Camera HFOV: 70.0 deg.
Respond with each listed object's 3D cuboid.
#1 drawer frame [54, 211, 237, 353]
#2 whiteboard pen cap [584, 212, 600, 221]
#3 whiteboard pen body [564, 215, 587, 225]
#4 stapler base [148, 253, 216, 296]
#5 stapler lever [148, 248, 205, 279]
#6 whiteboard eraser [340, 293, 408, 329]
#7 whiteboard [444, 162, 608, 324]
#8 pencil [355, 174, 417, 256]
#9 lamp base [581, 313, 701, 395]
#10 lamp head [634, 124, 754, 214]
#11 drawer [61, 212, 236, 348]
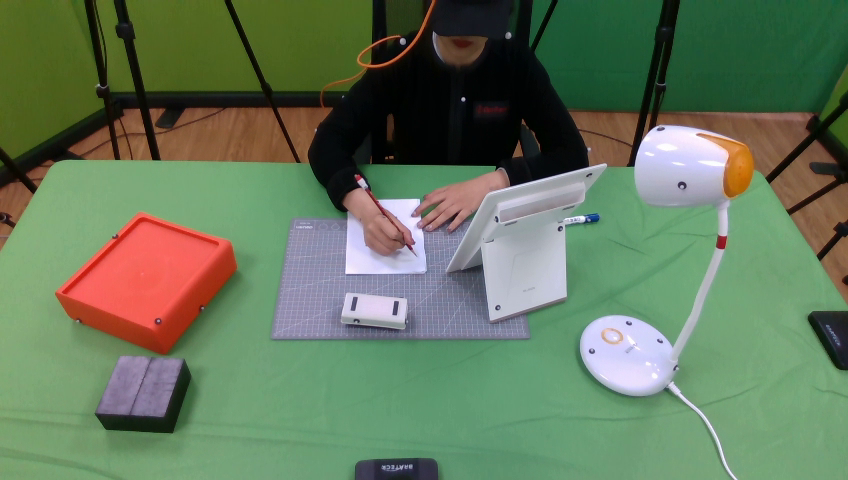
[{"bbox_3d":[-0.473,0.067,1.055,0.201,0.083,0.212,17,48,11],"label":"drawer frame"},{"bbox_3d":[0.351,-0.048,1.271,0.033,0.018,0.018,-6,47,-11],"label":"whiteboard pen cap"},{"bbox_3d":[0.291,-0.040,1.261,0.141,0.017,0.017,-6,47,-11],"label":"whiteboard pen body"},{"bbox_3d":[-0.443,0.058,1.108,0.130,0.024,0.041,24,52,11],"label":"stapler base"},{"bbox_3d":[-0.443,0.038,1.083,0.118,0.040,0.027,19,51,17],"label":"stapler lever"},{"bbox_3d":[-0.087,0.125,1.052,0.113,0.042,0.055,5,45,1],"label":"whiteboard eraser"},{"bbox_3d":[0.186,0.026,1.028,0.217,0.306,0.143,-14,68,-17],"label":"whiteboard"},{"bbox_3d":[-0.069,-0.045,1.137,0.012,0.194,0.012,-33,17,11],"label":"pencil"},{"bbox_3d":[0.361,0.144,0.973,0.178,0.181,0.160,34,53,23],"label":"lamp base"},{"bbox_3d":[0.351,-0.089,0.775,0.112,0.113,0.122,-30,30,-28],"label":"lamp head"},{"bbox_3d":[-0.473,0.064,1.060,0.194,0.073,0.211,18,48,11],"label":"drawer"}]
